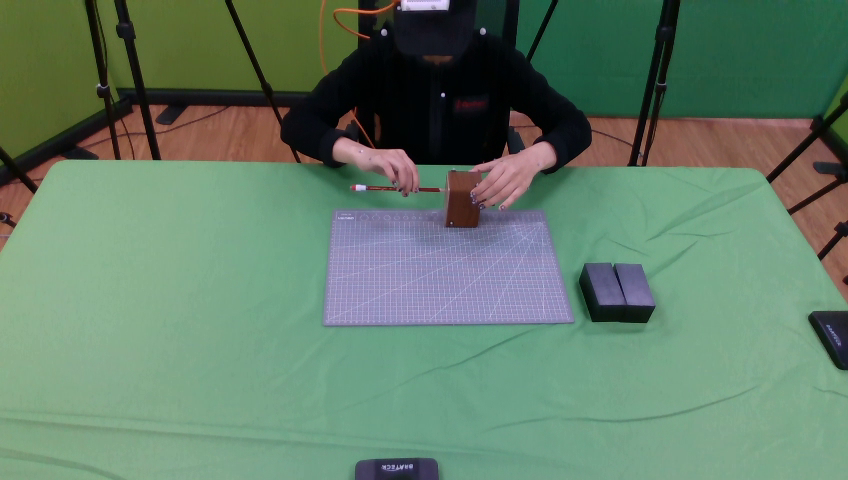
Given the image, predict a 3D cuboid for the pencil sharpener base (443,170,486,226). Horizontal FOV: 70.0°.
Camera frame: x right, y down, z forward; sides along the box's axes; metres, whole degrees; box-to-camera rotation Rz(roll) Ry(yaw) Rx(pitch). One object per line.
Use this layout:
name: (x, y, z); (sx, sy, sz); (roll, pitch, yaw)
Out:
pencil sharpener base: (0.080, -0.083, 1.221); (0.077, 0.107, 0.061); (1, 46, -4)

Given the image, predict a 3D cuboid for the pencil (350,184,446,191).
pencil: (-0.048, -0.103, 1.198); (0.194, 0.012, 0.012); (1, 46, -1)

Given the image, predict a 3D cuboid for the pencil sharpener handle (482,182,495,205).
pencil sharpener handle: (0.132, -0.093, 1.217); (0.031, 0.068, 0.036); (1, 57, -4)
